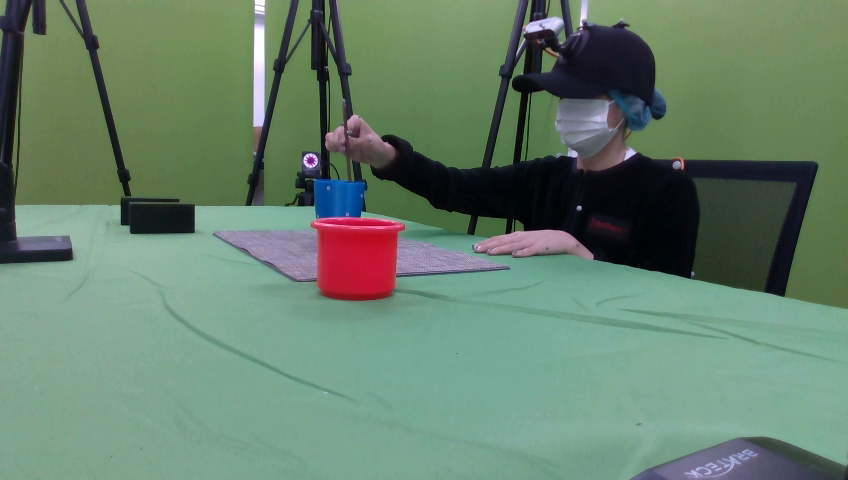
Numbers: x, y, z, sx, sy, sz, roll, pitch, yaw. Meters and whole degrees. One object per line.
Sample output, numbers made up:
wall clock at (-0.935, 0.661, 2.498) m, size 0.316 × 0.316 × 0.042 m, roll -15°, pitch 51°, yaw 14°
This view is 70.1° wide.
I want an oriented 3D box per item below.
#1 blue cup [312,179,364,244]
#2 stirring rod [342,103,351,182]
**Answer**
blue cup at (-0.143, -0.047, 0.995) m, size 0.093 × 0.100 × 0.092 m, roll 4°, pitch 8°, yaw 0°
stirring rod at (-0.126, -0.135, 0.992) m, size 0.006 × 0.176 × 0.014 m, roll -5°, pitch 6°, yaw -18°
